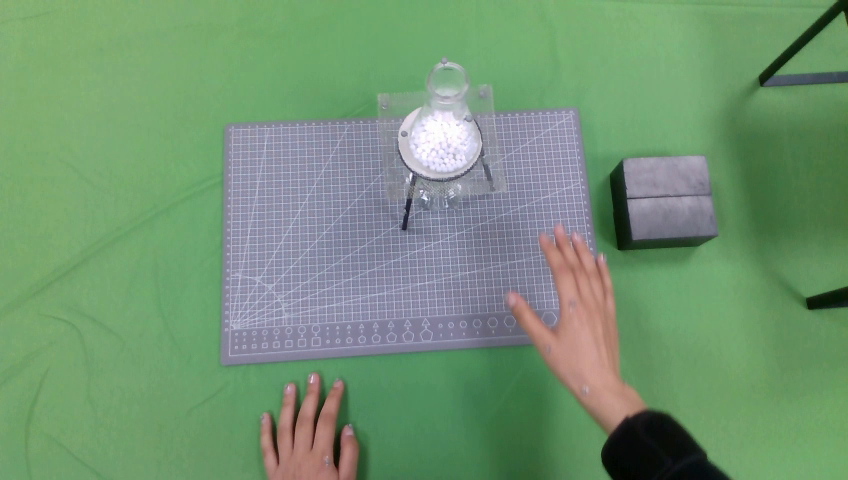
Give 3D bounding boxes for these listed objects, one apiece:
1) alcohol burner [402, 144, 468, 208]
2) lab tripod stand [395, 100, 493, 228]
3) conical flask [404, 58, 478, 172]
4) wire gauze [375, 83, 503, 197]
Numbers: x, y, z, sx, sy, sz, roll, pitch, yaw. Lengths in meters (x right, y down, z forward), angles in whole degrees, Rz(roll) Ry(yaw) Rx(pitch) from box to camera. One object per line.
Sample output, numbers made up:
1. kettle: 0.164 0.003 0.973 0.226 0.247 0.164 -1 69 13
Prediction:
1. alcohol burner: 0.012 -0.080 0.696 0.078 0.119 0.077 0 77 1
2. lab tripod stand: 0.011 -0.091 0.689 0.148 0.132 0.147 0 76 1
3. conical flask: 0.018 -0.119 0.567 0.075 0.122 0.075 0 74 -1
4. wire gauze: 0.015 -0.103 0.624 0.125 0.011 0.121 -3 78 -5
